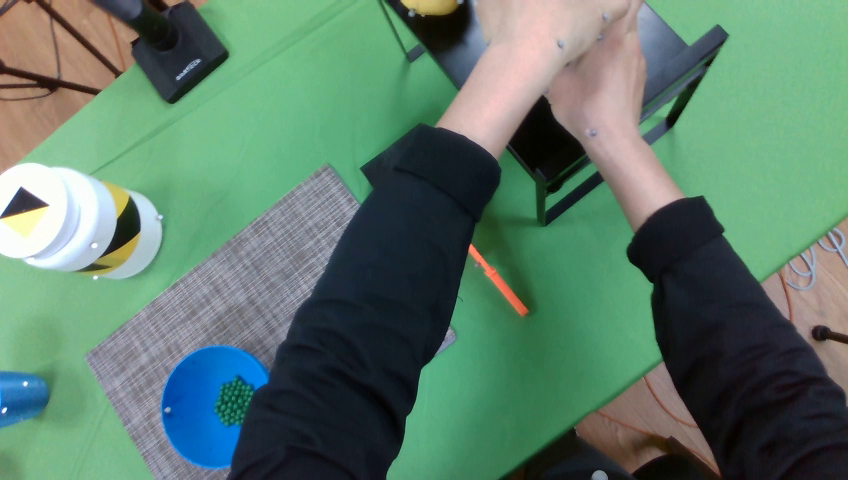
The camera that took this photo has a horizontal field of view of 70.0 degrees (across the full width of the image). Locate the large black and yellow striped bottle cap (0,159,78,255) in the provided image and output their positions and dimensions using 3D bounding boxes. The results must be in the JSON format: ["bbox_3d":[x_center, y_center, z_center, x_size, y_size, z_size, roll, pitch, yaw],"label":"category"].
[{"bbox_3d":[-0.469,-0.040,0.722,0.115,0.019,0.114,-1,83,10],"label":"large black and yellow striped bottle cap"}]

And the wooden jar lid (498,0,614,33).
[{"bbox_3d":[0.112,-0.223,0.509,0.108,0.021,0.108,-1,83,11],"label":"wooden jar lid"}]

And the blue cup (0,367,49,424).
[{"bbox_3d":[-0.581,0.214,0.835,0.092,0.100,0.092,-1,82,8],"label":"blue cup"}]

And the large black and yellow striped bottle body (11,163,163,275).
[{"bbox_3d":[-0.455,-0.026,0.804,0.130,0.185,0.130,-1,81,10],"label":"large black and yellow striped bottle body"}]

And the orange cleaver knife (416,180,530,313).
[{"bbox_3d":[0.061,0.008,0.759,0.012,0.076,0.212,-41,107,-1],"label":"orange cleaver knife"}]

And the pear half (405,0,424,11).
[{"bbox_3d":[-0.014,-0.275,0.622,0.031,0.088,0.070,-5,85,9],"label":"pear half"}]

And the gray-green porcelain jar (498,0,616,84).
[{"bbox_3d":[0.124,-0.214,0.571,0.105,0.127,0.105,-1,82,11],"label":"gray-green porcelain jar"}]

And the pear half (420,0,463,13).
[{"bbox_3d":[0.019,-0.277,0.607,0.056,0.110,0.076,-5,85,10],"label":"pear half"}]

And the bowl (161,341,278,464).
[{"bbox_3d":[-0.250,0.206,0.786,0.151,0.077,0.151,-1,82,10],"label":"bowl"}]
